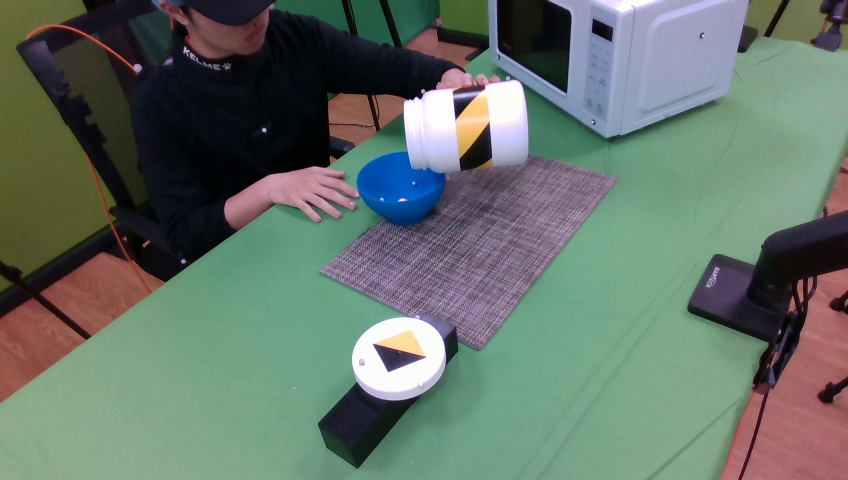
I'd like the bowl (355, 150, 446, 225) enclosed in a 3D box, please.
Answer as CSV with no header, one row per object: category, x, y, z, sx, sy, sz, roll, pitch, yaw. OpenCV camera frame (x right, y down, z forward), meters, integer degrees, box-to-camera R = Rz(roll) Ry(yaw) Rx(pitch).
bowl,-0.035,-0.078,1.017,0.151,0.077,0.150,-3,40,3

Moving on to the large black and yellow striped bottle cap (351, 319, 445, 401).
large black and yellow striped bottle cap,-0.031,0.143,0.735,0.115,0.019,0.114,-3,40,3

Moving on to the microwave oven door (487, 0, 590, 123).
microwave oven door,0.232,-0.420,1.230,0.039,0.245,0.352,-22,43,-16

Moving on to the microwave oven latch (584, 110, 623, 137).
microwave oven latch,0.337,-0.222,1.142,0.030,0.029,0.078,-21,42,-14

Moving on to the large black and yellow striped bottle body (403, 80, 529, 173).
large black and yellow striped bottle body,0.065,-0.175,0.947,0.184,0.131,0.130,-6,40,4

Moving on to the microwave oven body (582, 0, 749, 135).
microwave oven body,0.382,-0.444,1.246,0.327,0.261,0.437,-22,42,-16
